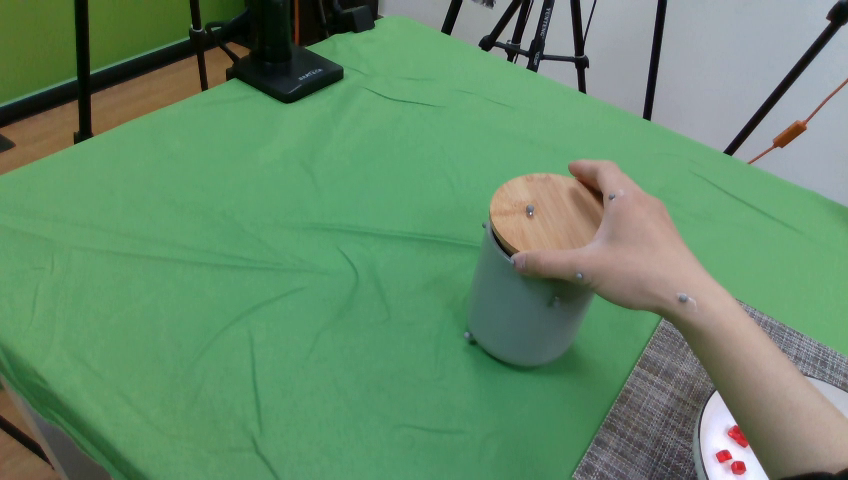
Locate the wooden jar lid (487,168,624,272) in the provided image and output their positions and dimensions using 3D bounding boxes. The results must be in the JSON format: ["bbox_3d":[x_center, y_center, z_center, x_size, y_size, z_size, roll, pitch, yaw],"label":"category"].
[{"bbox_3d":[0.104,-0.016,0.486,0.108,0.021,0.107,1,49,-1],"label":"wooden jar lid"}]

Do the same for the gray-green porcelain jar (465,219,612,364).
[{"bbox_3d":[0.095,0.039,0.538,0.106,0.127,0.105,6,43,-5],"label":"gray-green porcelain jar"}]

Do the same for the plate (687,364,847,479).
[{"bbox_3d":[0.307,0.193,0.475,0.208,0.039,0.205,6,43,-5],"label":"plate"}]
